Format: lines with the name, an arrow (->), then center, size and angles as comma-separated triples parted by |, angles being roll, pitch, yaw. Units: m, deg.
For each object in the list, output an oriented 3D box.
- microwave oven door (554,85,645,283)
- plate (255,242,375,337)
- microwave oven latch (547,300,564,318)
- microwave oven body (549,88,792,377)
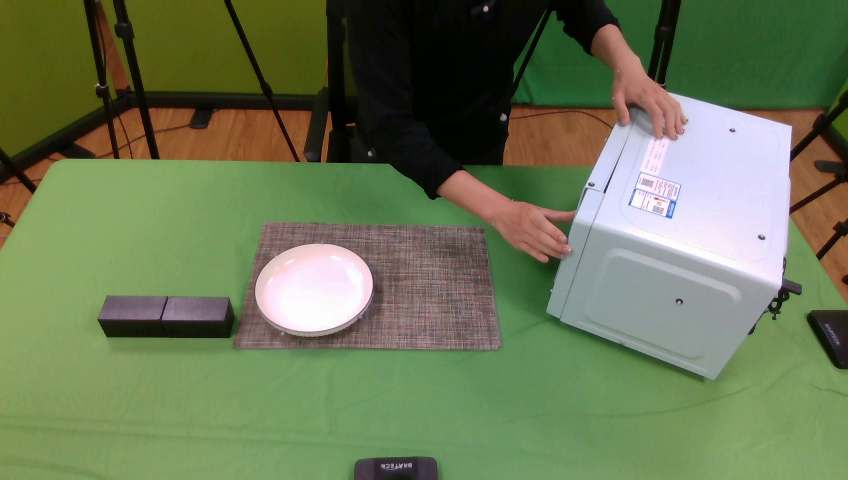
microwave oven door -> 0.339, -0.109, 1.149 | 0.039, 0.245, 0.354 | 21, 48, 16
plate -> -0.192, 0.090, 1.079 | 0.208, 0.039, 0.206 | 2, 46, -2
microwave oven latch -> 0.242, 0.102, 1.081 | 0.030, 0.029, 0.079 | 22, 48, 17
microwave oven body -> 0.456, -0.028, 1.088 | 0.325, 0.261, 0.440 | 20, 47, 16
